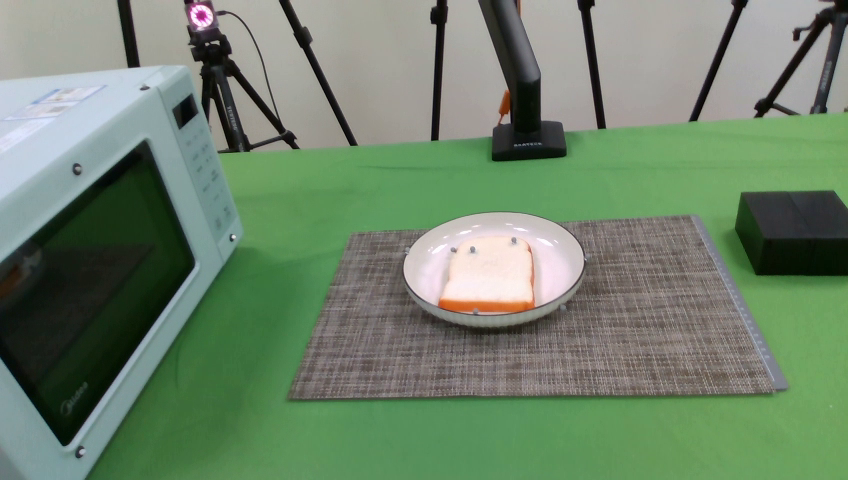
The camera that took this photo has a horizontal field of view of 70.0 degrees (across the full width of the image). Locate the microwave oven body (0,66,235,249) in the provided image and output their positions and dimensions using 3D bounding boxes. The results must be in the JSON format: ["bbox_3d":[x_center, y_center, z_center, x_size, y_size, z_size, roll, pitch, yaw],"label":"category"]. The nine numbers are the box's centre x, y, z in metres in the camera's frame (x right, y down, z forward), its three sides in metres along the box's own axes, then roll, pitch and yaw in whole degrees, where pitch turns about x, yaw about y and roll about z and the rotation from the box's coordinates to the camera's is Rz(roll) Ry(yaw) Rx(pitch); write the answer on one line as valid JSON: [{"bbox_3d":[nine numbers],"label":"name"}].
[{"bbox_3d":[-0.448,0.023,0.630,0.325,0.262,0.438,-2,34,8],"label":"microwave oven body"}]

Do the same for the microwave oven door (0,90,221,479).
[{"bbox_3d":[-0.309,0.035,0.571,0.039,0.246,0.353,-3,33,9],"label":"microwave oven door"}]

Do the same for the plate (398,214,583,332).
[{"bbox_3d":[0.075,0.038,0.698,0.209,0.038,0.207,-6,33,4],"label":"plate"}]

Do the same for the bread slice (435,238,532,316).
[{"bbox_3d":[0.072,0.040,0.700,0.105,0.019,0.130,-1,34,10],"label":"bread slice"}]

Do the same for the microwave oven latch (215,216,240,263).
[{"bbox_3d":[-0.271,0.000,0.807,0.030,0.030,0.078,-2,34,9],"label":"microwave oven latch"}]
